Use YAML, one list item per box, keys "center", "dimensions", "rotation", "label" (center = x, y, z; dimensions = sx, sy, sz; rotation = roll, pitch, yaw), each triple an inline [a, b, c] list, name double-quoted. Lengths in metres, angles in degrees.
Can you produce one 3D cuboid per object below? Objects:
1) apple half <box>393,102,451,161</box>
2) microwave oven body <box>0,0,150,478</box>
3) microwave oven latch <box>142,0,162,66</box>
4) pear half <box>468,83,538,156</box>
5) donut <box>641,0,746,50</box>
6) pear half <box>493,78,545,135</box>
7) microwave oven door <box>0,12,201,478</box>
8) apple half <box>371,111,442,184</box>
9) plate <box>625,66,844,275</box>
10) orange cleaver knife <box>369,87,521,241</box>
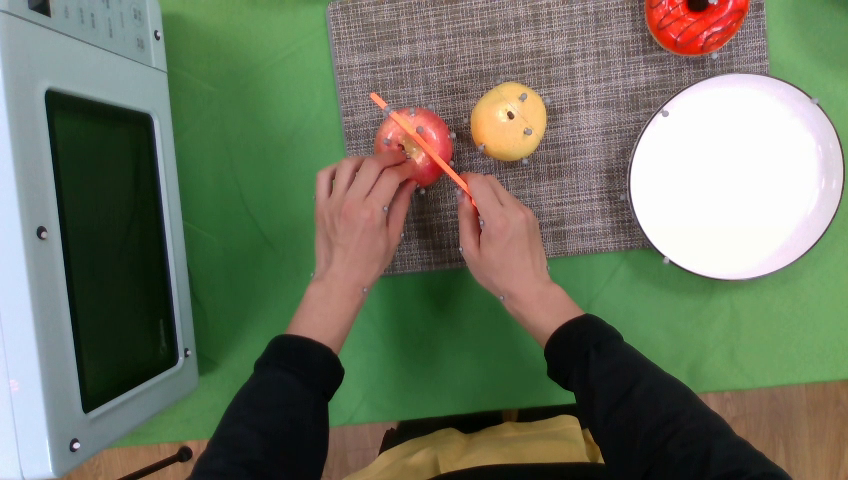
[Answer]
- center: [0.005, -0.118, 0.625]
  dimensions: [0.033, 0.081, 0.081]
  rotation: [-45, 90, 8]
  label: "apple half"
- center: [-0.445, -0.033, 0.583]
  dimensions: [0.326, 0.260, 0.442]
  rotation: [-4, 96, 6]
  label: "microwave oven body"
- center: [-0.301, -0.227, 0.646]
  dimensions: [0.030, 0.029, 0.079]
  rotation: [-2, 96, 5]
  label: "microwave oven latch"
- center: [0.074, -0.115, 0.601]
  dimensions: [0.076, 0.110, 0.056]
  rotation: [43, 98, 5]
  label: "pear half"
- center: [0.266, -0.240, 0.603]
  dimensions: [0.099, 0.048, 0.099]
  rotation: [1, 97, 8]
  label: "donut"
- center: [0.100, -0.139, 0.606]
  dimensions: [0.070, 0.088, 0.031]
  rotation: [43, 98, 6]
  label: "pear half"
- center: [-0.298, 0.000, 0.567]
  dimensions: [0.039, 0.243, 0.356]
  rotation: [-4, 95, 6]
  label: "microwave oven door"
- center: [-0.024, -0.089, 0.631]
  dimensions: [0.053, 0.074, 0.081]
  rotation: [-42, 95, 11]
  label: "apple half"
- center: [0.310, -0.069, 0.619]
  dimensions: [0.209, 0.038, 0.209]
  rotation: [0, 96, 5]
  label: "plate"
- center: [0.025, -0.068, 0.580]
  dimensions: [0.012, 0.076, 0.213]
  rotation: [-44, 128, 7]
  label: "orange cleaver knife"
